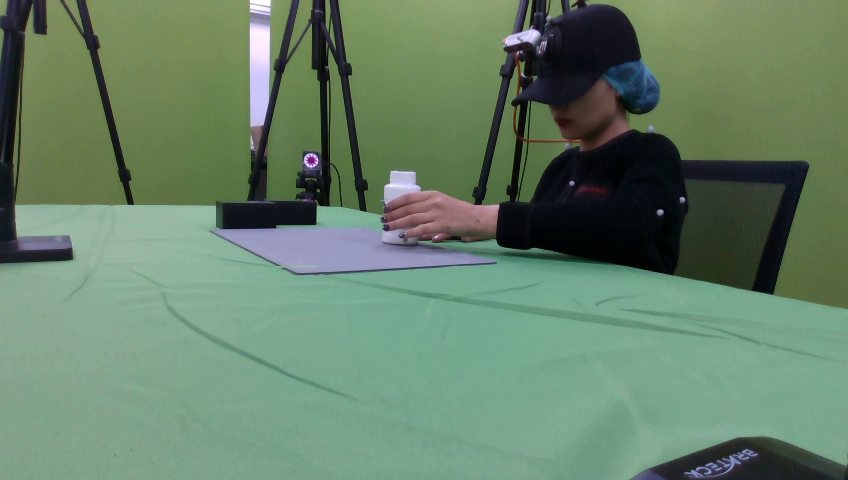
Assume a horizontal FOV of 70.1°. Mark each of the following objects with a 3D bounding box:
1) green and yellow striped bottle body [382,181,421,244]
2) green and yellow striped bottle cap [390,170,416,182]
[{"bbox_3d":[-0.038,-0.055,1.018,0.063,0.119,0.063,3,7,0],"label":"green and yellow striped bottle body"},{"bbox_3d":[-0.036,-0.106,1.013,0.045,0.020,0.045,3,8,0],"label":"green and yellow striped bottle cap"}]
